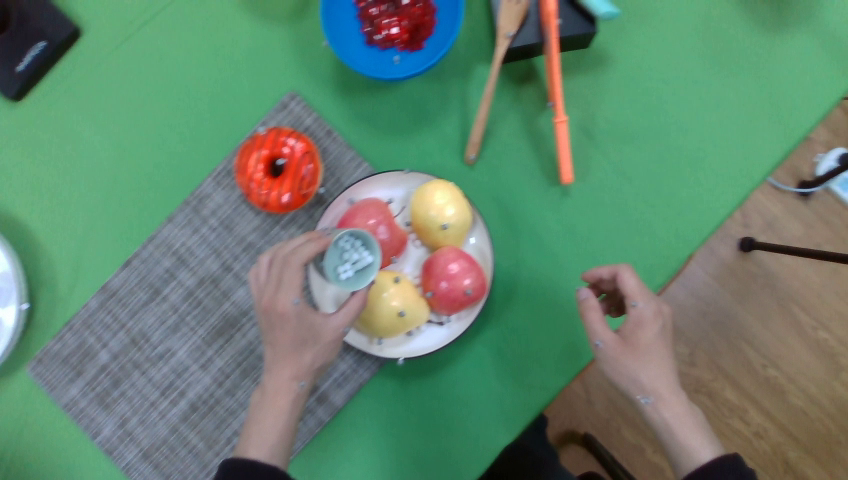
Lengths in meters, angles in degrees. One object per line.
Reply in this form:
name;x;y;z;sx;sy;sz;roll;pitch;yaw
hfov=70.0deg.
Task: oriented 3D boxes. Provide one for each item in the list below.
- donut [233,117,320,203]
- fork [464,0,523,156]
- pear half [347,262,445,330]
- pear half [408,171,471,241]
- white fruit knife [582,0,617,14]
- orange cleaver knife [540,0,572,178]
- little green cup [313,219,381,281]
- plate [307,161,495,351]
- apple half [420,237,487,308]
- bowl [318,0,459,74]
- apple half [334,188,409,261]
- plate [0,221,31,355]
donut;-0.166;-0.090;0.684;0.099;0.048;0.099;0;91;5
fork;0.073;-0.189;0.656;0.028;0.018;0.208;13;110;-5
pear half;-0.028;0.066;0.663;0.110;0.056;0.076;17;94;-1
pear half;0.014;-0.030;0.663;0.070;0.031;0.088;-14;99;26
white fruit knife;0.123;-0.312;0.643;0.207;0.016;0.027;45;62;5
orange cleaver knife;0.141;-0.174;0.655;0.012;0.076;0.213;-10;114;8
little green cup;-0.078;0.008;0.593;0.062;0.038;0.061;-5;99;-34
plate;-0.025;0.017;0.678;0.209;0.038;0.209;0;89;3
apple half;0.025;0.038;0.658;0.081;0.033;0.081;5;105;20
bowl;-0.035;-0.249;0.668;0.151;0.077;0.151;0;89;3
apple half;-0.061;-0.015;0.663;0.074;0.053;0.081;-28;91;3
plate;-0.555;0.058;0.708;0.207;0.039;0.207;0;89;3
